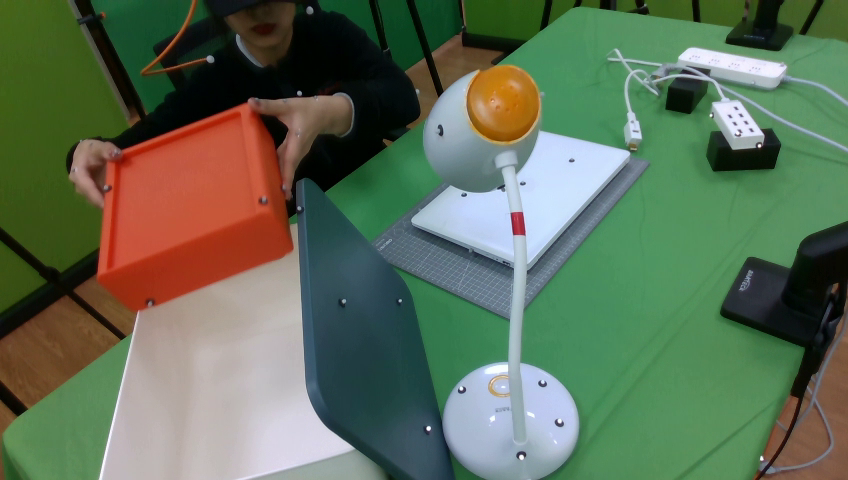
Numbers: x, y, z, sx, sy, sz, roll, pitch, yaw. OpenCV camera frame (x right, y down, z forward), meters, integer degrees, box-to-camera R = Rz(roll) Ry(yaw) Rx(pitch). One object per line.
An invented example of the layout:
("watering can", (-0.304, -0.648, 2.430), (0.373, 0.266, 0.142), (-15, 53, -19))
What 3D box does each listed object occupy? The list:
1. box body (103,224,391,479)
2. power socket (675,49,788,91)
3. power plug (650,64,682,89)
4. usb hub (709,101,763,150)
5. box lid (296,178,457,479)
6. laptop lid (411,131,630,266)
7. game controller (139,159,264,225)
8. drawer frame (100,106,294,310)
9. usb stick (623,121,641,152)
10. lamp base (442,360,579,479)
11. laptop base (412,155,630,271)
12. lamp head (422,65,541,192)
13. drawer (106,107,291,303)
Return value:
("box body", (-0.190, 0.161, 0.723), (0.255, 0.161, 0.361), (-13, 40, -5))
("power socket", (0.647, -0.363, 1.284), (0.225, 0.033, 0.072), (26, 53, 35))
("power plug", (0.498, -0.341, 1.263), (0.035, 0.052, 0.072), (20, 10, -7))
("usb hub", (0.534, -0.199, 1.040), (0.049, 0.025, 0.124), (-5, 39, 8))
("box lid", (-0.060, 0.103, 0.702), (0.015, 0.265, 0.369), (-30, 39, 11))
("laptop lid", (0.172, -0.094, 1.050), (0.239, 0.013, 0.358), (23, 49, 36))
("game controller", (-0.290, -0.069, 0.782), (0.155, 0.052, 0.096), (-22, 21, -5))
("drawer frame", (-0.277, -0.047, 0.742), (0.202, 0.083, 0.212), (-21, 50, -2))
("usb stick", (0.389, -0.192, 1.128), (0.021, 0.027, 0.059), (8, 62, -9))
("lamp base", (0.094, 0.158, 0.657), (0.161, 0.181, 0.178), (-14, 42, -5))
("laptop base", (0.176, -0.085, 1.056), (0.233, 0.023, 0.355), (20, 48, 36))
("lamp head", (0.060, -0.106, 0.560), (0.113, 0.112, 0.122), (-17, 0, -8))
("drawer", (-0.278, -0.049, 0.746), (0.195, 0.074, 0.210), (-20, 50, -2))
